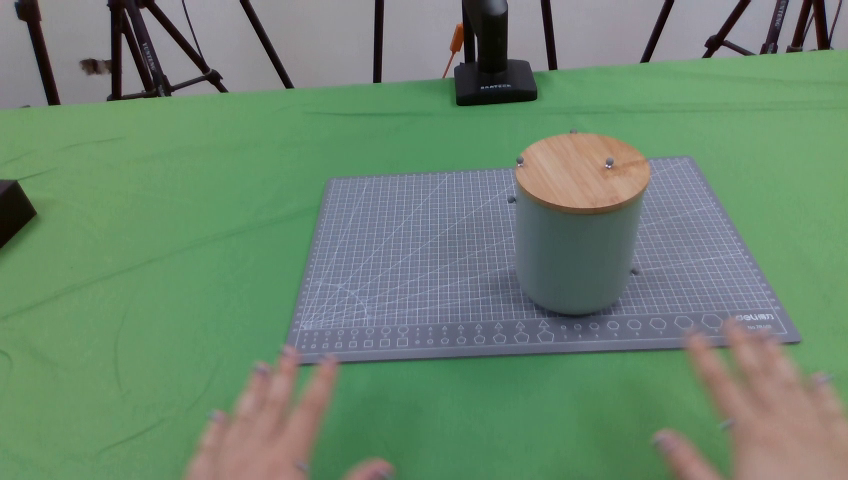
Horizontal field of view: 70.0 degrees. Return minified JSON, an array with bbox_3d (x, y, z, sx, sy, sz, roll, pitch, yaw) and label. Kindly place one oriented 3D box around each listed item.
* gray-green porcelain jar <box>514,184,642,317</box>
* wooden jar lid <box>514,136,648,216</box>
[{"bbox_3d":[0.134,-0.003,0.545,0.106,0.128,0.105,-4,39,3],"label":"gray-green porcelain jar"},{"bbox_3d":[0.129,-0.051,0.505,0.108,0.021,0.107,-4,40,4],"label":"wooden jar lid"}]
